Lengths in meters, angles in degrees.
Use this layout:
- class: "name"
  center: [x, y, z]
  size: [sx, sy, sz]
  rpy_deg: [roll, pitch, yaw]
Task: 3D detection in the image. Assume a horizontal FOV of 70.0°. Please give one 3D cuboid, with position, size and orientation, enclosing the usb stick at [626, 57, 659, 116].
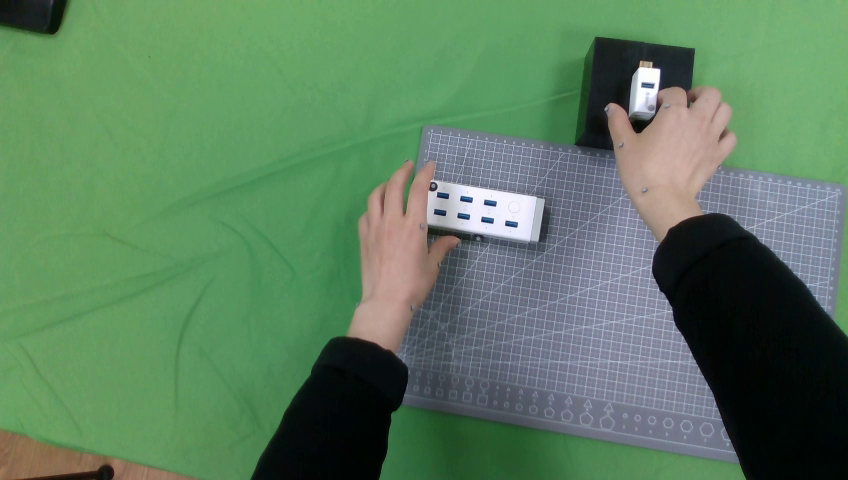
- class: "usb stick"
  center: [0.213, -0.154, 0.591]
  size: [0.021, 0.027, 0.059]
  rpy_deg: [9, 81, 1]

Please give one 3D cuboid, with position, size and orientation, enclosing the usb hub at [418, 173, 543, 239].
- class: "usb hub"
  center: [0.059, -0.036, 0.635]
  size: [0.125, 0.025, 0.049]
  rpy_deg: [10, 84, 3]
